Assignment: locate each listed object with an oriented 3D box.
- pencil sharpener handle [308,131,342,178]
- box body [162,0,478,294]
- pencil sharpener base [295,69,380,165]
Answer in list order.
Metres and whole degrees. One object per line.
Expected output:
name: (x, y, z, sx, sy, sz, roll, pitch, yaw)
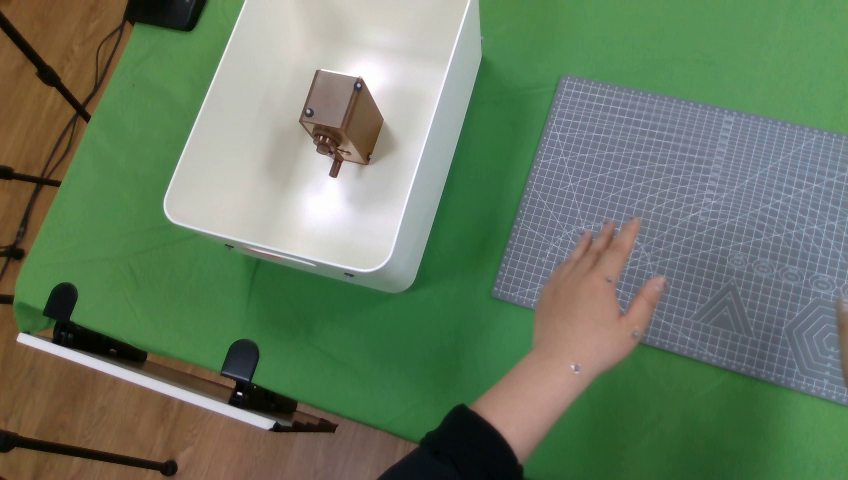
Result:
pencil sharpener handle: (-0.117, -0.099, 0.713, 0.036, 0.068, 0.030, 12, 77, 22)
box body: (-0.097, -0.138, 0.712, 0.253, 0.161, 0.362, 14, 77, 12)
pencil sharpener base: (-0.103, -0.144, 0.736, 0.061, 0.108, 0.076, 14, 78, 13)
